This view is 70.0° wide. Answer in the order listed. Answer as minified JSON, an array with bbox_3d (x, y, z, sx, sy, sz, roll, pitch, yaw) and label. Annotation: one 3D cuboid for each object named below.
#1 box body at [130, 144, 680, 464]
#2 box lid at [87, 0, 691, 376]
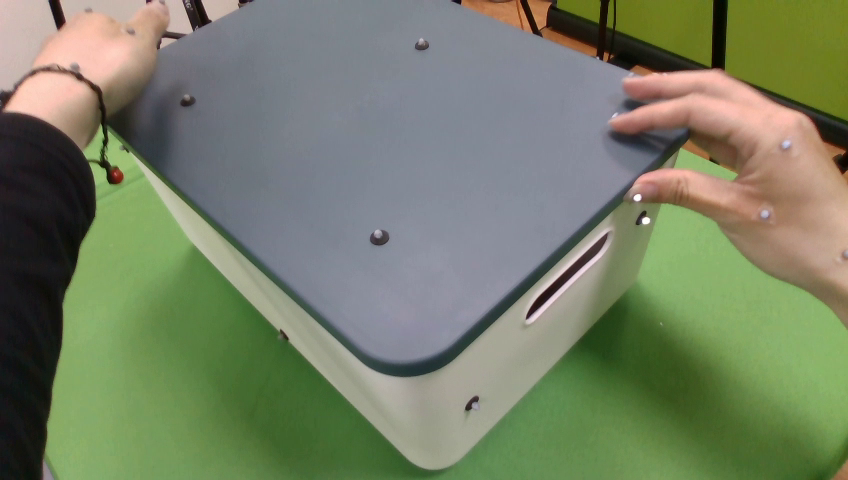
[{"bbox_3d":[-0.034,-0.041,0.475,0.254,0.162,0.360,-39,54,-24],"label":"box body"},{"bbox_3d":[-0.042,-0.092,0.414,0.263,0.015,0.368,-39,55,-24],"label":"box lid"}]
